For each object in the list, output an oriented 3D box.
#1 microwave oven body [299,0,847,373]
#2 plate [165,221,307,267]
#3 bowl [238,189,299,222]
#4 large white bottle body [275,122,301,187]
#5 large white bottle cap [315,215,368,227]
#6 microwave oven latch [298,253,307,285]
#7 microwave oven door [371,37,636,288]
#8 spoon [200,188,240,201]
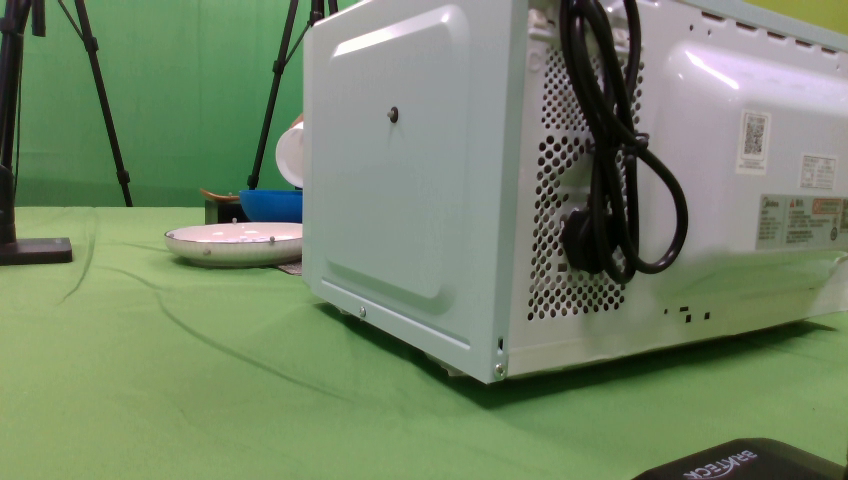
[{"bbox_3d":[0.151,-0.055,0.542,0.444,0.260,0.324,-2,7,-33],"label":"microwave oven body"},{"bbox_3d":[-0.241,0.004,0.829,0.209,0.038,0.209,0,9,0],"label":"plate"},{"bbox_3d":[-0.245,-0.045,1.053,0.151,0.077,0.151,3,8,0],"label":"bowl"},{"bbox_3d":[-0.188,-0.168,1.163,0.130,0.130,0.185,5,16,21],"label":"large white bottle body"},{"bbox_3d":[-0.177,-0.041,1.309,0.115,0.018,0.115,2,6,0],"label":"large white bottle cap"},{"bbox_3d":[-0.081,0.027,0.582,0.079,0.029,0.030,-1,7,-32],"label":"microwave oven latch"},{"bbox_3d":[0.109,-0.080,0.686,0.358,0.243,0.039,-2,9,-33],"label":"microwave oven door"},{"bbox_3d":[-0.338,-0.080,1.190,0.194,0.021,0.041,5,3,-19],"label":"spoon"}]
